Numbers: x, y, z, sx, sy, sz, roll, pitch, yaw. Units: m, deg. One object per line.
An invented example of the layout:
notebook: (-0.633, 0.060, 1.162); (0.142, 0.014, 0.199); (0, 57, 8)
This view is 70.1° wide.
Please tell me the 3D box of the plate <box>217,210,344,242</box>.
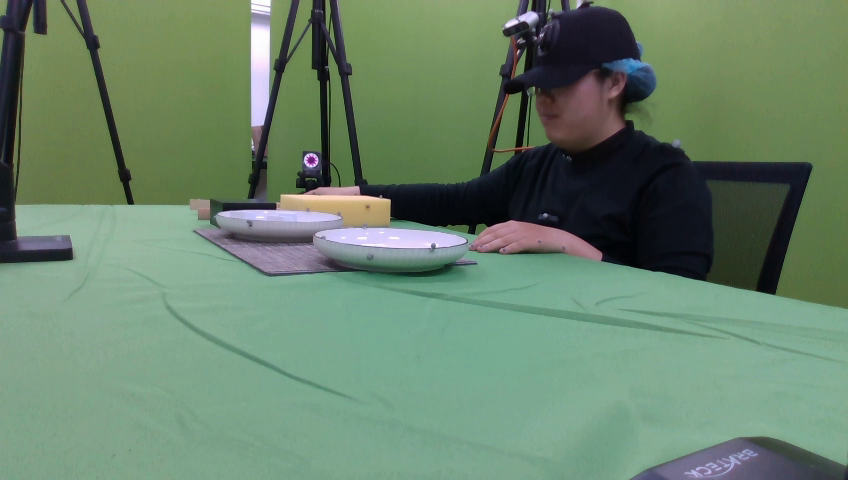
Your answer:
plate: (-0.241, -0.024, 1.026); (0.208, 0.039, 0.207); (3, 7, 0)

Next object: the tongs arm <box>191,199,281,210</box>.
tongs arm: (-0.340, -0.075, 1.420); (0.387, 0.026, 0.050); (1, 8, -25)

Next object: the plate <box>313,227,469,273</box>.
plate: (-0.044, 0.012, 0.807); (0.209, 0.038, 0.209); (2, 7, 0)

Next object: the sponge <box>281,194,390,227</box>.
sponge: (-0.188, -0.063, 1.291); (0.208, 0.061, 0.117); (-2, 9, -35)

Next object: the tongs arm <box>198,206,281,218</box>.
tongs arm: (-0.307, -0.063, 1.358); (0.390, 0.028, 0.028); (-2, 5, -35)
